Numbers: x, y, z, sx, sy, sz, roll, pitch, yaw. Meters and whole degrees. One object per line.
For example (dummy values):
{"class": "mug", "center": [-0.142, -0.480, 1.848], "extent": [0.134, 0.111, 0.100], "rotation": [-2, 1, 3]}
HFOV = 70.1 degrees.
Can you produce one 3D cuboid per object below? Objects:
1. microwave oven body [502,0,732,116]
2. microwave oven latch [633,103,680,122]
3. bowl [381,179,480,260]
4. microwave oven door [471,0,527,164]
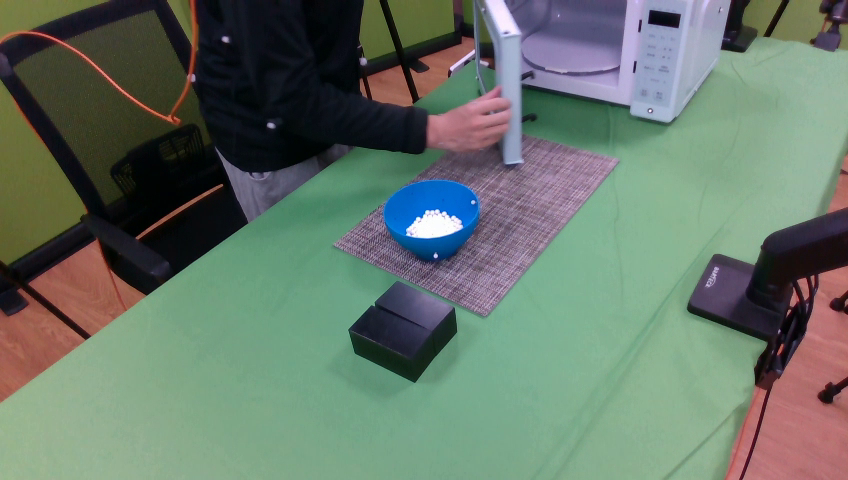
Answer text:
{"class": "microwave oven body", "center": [0.377, -0.462, 1.267], "extent": [0.438, 0.261, 0.327], "rotation": [21, 49, 30]}
{"class": "microwave oven latch", "center": [0.443, -0.249, 1.157], "extent": [0.078, 0.029, 0.030], "rotation": [21, 49, 30]}
{"class": "bowl", "center": [0.014, -0.021, 0.942], "extent": [0.151, 0.077, 0.150], "rotation": [-4, 40, 4]}
{"class": "microwave oven door", "center": [0.139, -0.342, 1.153], "extent": [0.039, 0.245, 0.353], "rotation": [-9, 40, -1]}
